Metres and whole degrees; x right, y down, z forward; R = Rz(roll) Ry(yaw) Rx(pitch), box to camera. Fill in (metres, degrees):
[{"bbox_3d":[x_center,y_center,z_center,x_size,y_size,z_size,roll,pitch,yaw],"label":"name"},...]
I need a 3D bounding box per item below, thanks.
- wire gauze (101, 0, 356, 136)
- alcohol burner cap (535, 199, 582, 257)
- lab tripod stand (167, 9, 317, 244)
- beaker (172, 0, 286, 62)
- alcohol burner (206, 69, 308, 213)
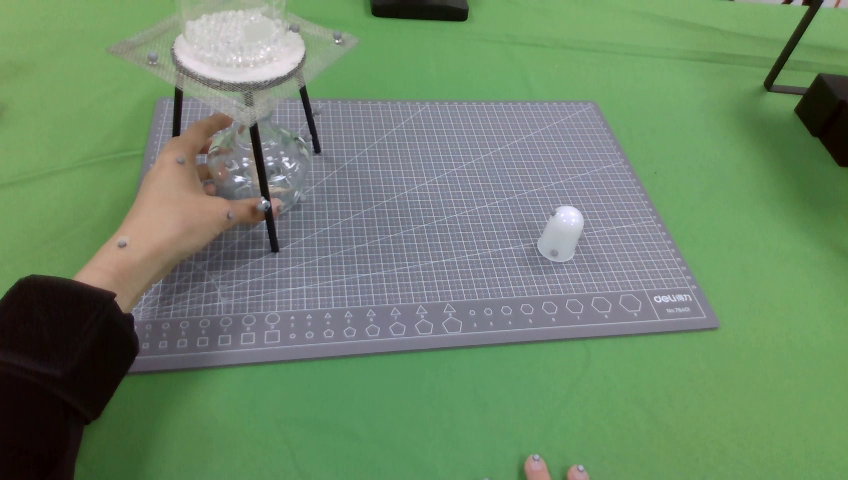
[{"bbox_3d":[-0.129,-0.134,0.414,0.124,0.011,0.121,30,54,12],"label":"wire gauze"},{"bbox_3d":[0.112,-0.011,0.496,0.034,0.048,0.033,4,48,-4],"label":"alcohol burner cap"},{"bbox_3d":[-0.134,-0.091,0.463,0.149,0.132,0.147,6,49,-6],"label":"lab tripod stand"},{"bbox_3d":[-0.127,-0.171,0.381,0.073,0.101,0.084,35,54,19],"label":"beaker"},{"bbox_3d":[-0.129,-0.079,0.467,0.078,0.120,0.077,6,47,-6],"label":"alcohol burner"}]
